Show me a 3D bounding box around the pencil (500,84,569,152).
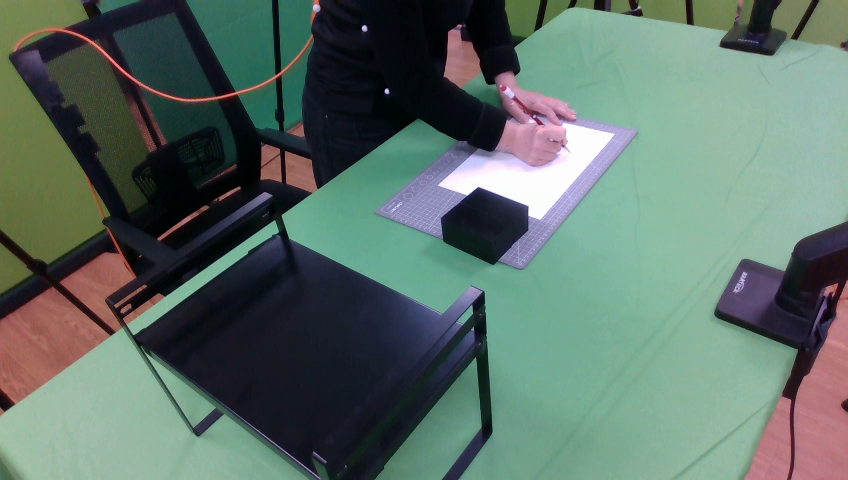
[{"bbox_3d":[0.204,-0.217,1.095,0.012,0.195,0.012,-37,31,28],"label":"pencil"}]
